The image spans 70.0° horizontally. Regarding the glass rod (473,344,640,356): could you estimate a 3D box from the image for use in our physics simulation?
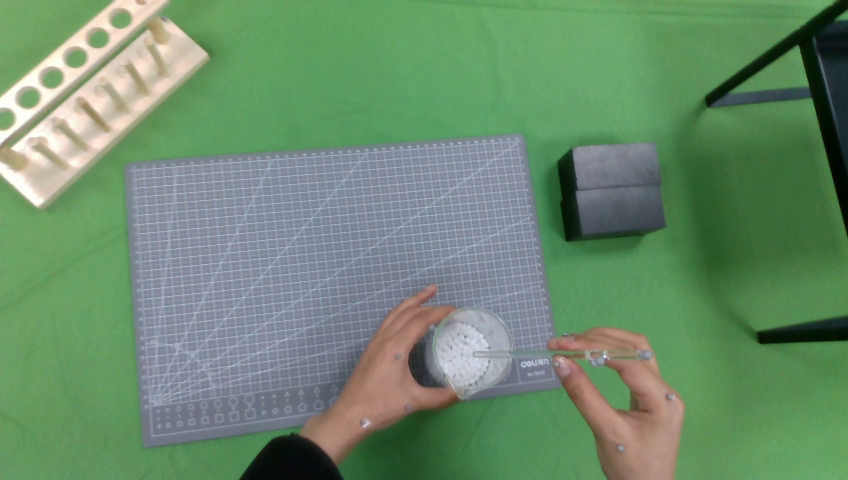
[{"bbox_3d":[0.088,0.085,0.458,0.008,0.199,0.008,5,78,-25],"label":"glass rod"}]

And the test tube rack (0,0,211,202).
[{"bbox_3d":[-0.340,-0.155,0.621,0.067,0.085,0.242,42,78,1],"label":"test tube rack"}]

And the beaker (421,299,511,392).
[{"bbox_3d":[0.035,0.106,0.587,0.074,0.100,0.083,14,75,-3],"label":"beaker"}]
